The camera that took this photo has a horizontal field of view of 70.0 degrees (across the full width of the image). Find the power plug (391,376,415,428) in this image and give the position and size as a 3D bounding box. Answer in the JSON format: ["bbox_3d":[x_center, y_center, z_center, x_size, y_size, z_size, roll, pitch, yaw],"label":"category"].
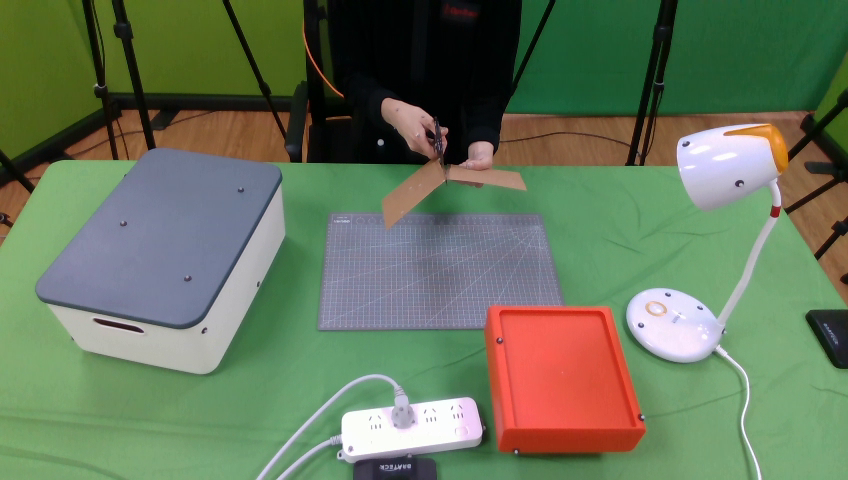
[{"bbox_3d":[-0.031,0.249,0.917,0.035,0.053,0.072,3,46,-1],"label":"power plug"}]

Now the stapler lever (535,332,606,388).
[{"bbox_3d":[0.225,0.182,0.929,0.118,0.040,0.027,26,34,15],"label":"stapler lever"}]

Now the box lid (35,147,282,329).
[{"bbox_3d":[-0.411,-0.023,0.987,0.263,0.015,0.369,10,47,5],"label":"box lid"}]

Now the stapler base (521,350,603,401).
[{"bbox_3d":[0.217,0.203,0.942,0.130,0.024,0.041,26,34,16],"label":"stapler base"}]

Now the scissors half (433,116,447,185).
[{"bbox_3d":[0.028,-0.156,1.044,0.013,0.040,0.174,-7,51,1],"label":"scissors half"}]

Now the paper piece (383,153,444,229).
[{"bbox_3d":[-0.022,-0.089,1.057,0.135,0.004,0.135,-39,24,15],"label":"paper piece"}]

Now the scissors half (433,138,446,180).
[{"bbox_3d":[0.029,-0.139,1.057,0.013,0.040,0.174,-3,26,-2],"label":"scissors half"}]

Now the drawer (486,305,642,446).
[{"bbox_3d":[0.202,0.200,0.919,0.195,0.073,0.210,2,47,-4],"label":"drawer"}]

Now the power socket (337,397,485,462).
[{"bbox_3d":[-0.018,0.285,0.915,0.227,0.033,0.071,-4,46,-8],"label":"power socket"}]

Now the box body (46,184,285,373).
[{"bbox_3d":[-0.414,0.029,1.040,0.254,0.161,0.362,10,46,5],"label":"box body"}]

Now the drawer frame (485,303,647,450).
[{"bbox_3d":[0.204,0.202,0.917,0.202,0.083,0.212,1,47,-4],"label":"drawer frame"}]

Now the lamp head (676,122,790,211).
[{"bbox_3d":[0.423,-0.104,0.819,0.122,0.113,0.112,-13,33,40],"label":"lamp head"}]

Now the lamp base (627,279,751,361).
[{"bbox_3d":[0.460,0.100,1.027,0.178,0.181,0.160,27,51,17],"label":"lamp base"}]

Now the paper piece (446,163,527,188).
[{"bbox_3d":[0.105,-0.114,1.047,0.136,0.008,0.138,11,17,0],"label":"paper piece"}]
